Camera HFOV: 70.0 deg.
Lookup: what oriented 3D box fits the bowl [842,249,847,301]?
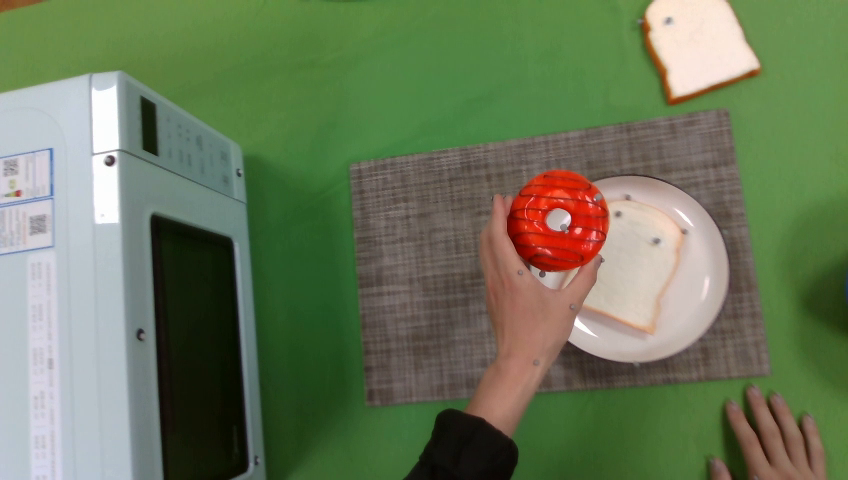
[{"bbox_3d":[0.488,0.040,0.604,0.151,0.077,0.151,-1,82,10],"label":"bowl"}]

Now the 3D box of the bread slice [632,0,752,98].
[{"bbox_3d":[0.303,-0.242,0.703,0.105,0.019,0.131,-21,81,6],"label":"bread slice"}]

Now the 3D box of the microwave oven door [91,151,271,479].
[{"bbox_3d":[-0.241,0.110,0.625,0.039,0.245,0.354,-9,81,9],"label":"microwave oven door"}]

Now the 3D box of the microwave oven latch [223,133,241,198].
[{"bbox_3d":[-0.248,-0.091,0.755,0.030,0.029,0.079,-9,82,9],"label":"microwave oven latch"}]

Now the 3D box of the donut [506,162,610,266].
[{"bbox_3d":[0.127,-0.024,0.579,0.099,0.048,0.099,-1,88,18],"label":"donut"}]

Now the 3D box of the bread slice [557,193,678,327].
[{"bbox_3d":[0.217,0.016,0.672,0.106,0.018,0.134,18,86,11],"label":"bread slice"}]

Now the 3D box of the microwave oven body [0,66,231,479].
[{"bbox_3d":[-0.388,0.092,0.658,0.326,0.261,0.440,-9,82,8],"label":"microwave oven body"}]

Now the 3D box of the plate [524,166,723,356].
[{"bbox_3d":[0.216,0.023,0.672,0.207,0.039,0.207,-1,83,10],"label":"plate"}]
